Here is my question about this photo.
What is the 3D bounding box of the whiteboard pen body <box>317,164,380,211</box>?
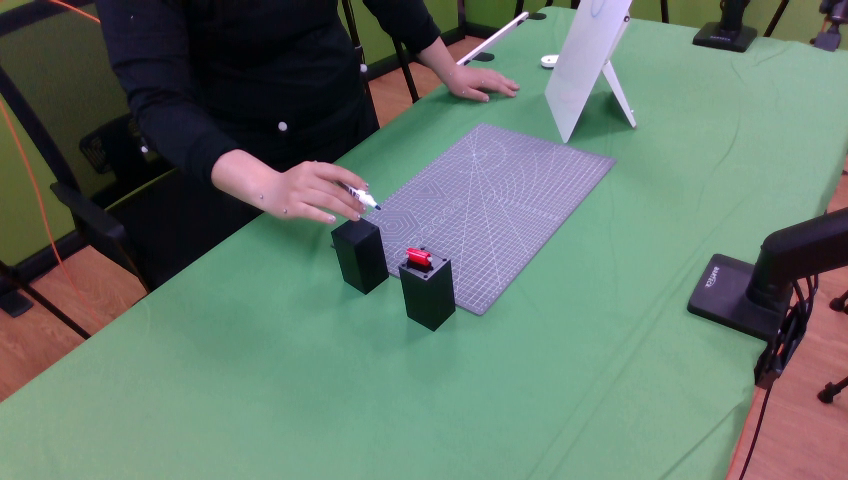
[{"bbox_3d":[-0.102,-0.071,0.819,0.017,0.017,0.139,-32,48,-26],"label":"whiteboard pen body"}]

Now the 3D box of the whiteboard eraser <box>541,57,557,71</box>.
[{"bbox_3d":[0.323,-0.412,1.407,0.101,0.019,0.041,1,42,11],"label":"whiteboard eraser"}]

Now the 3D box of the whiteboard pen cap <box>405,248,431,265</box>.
[{"bbox_3d":[-0.008,0.021,0.794,0.032,0.017,0.017,17,46,28],"label":"whiteboard pen cap"}]

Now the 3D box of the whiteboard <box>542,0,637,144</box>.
[{"bbox_3d":[0.366,-0.351,1.160,0.144,0.305,0.216,10,39,-10],"label":"whiteboard"}]
